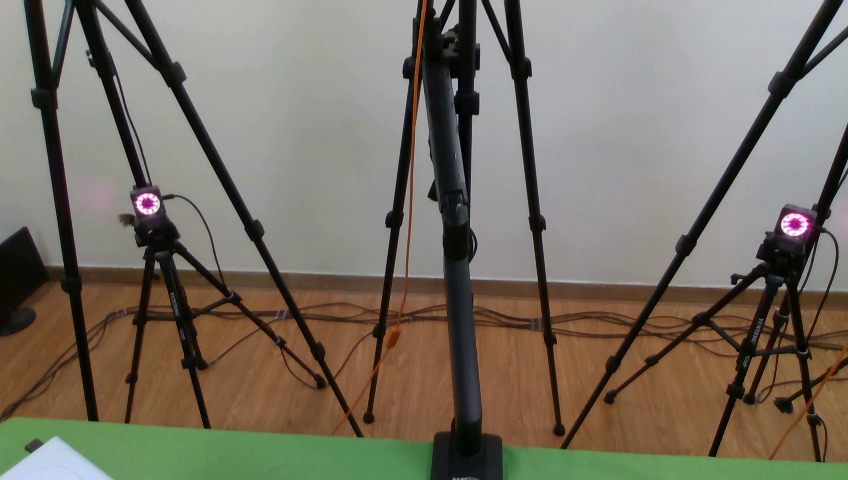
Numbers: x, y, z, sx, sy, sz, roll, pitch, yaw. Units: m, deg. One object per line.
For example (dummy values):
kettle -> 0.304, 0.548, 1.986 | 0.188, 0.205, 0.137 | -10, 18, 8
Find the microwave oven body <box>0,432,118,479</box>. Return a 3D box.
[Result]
microwave oven body -> -0.478, 0.493, 0.650 | 0.323, 0.262, 0.441 | 20, 40, 26
